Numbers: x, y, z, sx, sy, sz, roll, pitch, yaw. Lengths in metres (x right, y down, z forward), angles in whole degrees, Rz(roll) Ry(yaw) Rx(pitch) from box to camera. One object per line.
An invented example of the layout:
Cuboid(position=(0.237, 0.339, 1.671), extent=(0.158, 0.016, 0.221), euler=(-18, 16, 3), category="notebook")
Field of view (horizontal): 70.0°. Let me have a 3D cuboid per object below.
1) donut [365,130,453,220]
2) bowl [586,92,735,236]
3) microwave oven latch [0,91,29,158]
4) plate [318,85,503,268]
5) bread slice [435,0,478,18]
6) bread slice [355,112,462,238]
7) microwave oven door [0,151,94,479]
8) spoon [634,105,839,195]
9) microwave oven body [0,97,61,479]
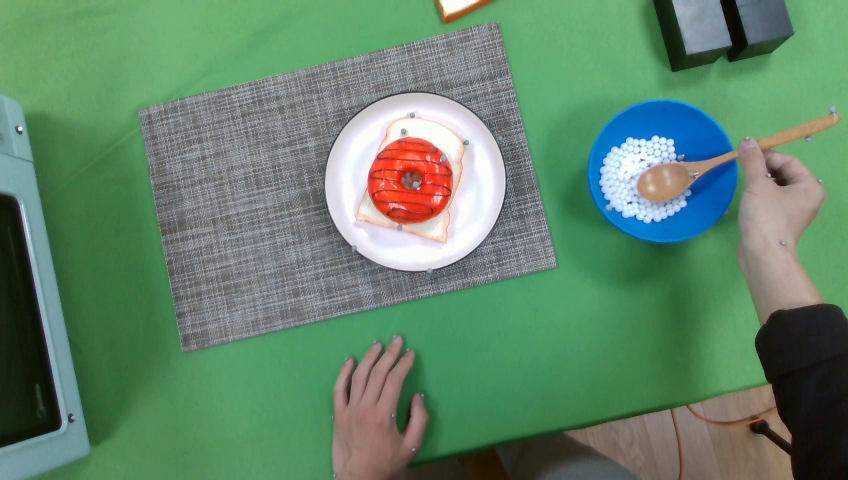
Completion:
Cuboid(position=(-0.017, -0.071, 0.666), extent=(0.099, 0.048, 0.099), euler=(0, 86, 5), category="donut")
Cuboid(position=(0.245, -0.075, 0.660), extent=(0.151, 0.077, 0.151), euler=(0, 85, 3), category="bowl")
Cuboid(position=(-0.496, -0.135, 0.717), extent=(0.030, 0.029, 0.079), euler=(-15, 86, 2), category="microwave oven latch")
Cuboid(position=(-0.015, -0.071, 0.694), extent=(0.207, 0.039, 0.207), euler=(0, 86, 4), category="plate")
Cuboid(position=(0.038, -0.345, 0.724), extent=(0.105, 0.019, 0.131), euler=(-27, 86, 1), category="bread slice")
Cuboid(position=(-0.014, -0.078, 0.695), extent=(0.107, 0.018, 0.134), euler=(12, 87, 4), category="bread slice")
Cuboid(position=(-0.450, 0.068, 0.598), extent=(0.039, 0.244, 0.355), euler=(-16, 85, 3), category="microwave oven door")
Cuboid(position=(0.309, -0.091, 0.614), extent=(0.193, 0.022, 0.041), euler=(-22, 74, 35), category="spoon")
Cuboid(position=(-0.602, 0.065, 0.613), extent=(0.326, 0.260, 0.440), euler=(-15, 85, 2), category="microwave oven body")
